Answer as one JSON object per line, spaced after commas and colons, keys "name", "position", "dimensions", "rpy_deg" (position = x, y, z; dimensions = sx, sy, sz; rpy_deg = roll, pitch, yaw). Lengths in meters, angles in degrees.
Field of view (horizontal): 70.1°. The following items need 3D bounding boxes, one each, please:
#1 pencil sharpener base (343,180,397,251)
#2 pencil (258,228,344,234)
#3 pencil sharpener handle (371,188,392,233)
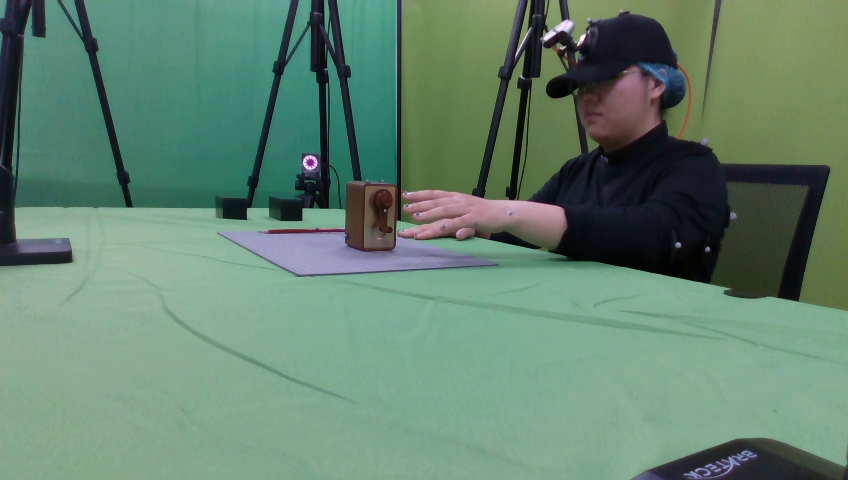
{"name": "pencil sharpener base", "position": [-0.085, -0.039, 0.958], "dimensions": [0.062, 0.107, 0.076], "rpy_deg": [-1, 9, -31]}
{"name": "pencil", "position": [-0.213, -0.017, 1.131], "dimensions": [0.195, 0.012, 0.012], "rpy_deg": [-2, 8, -26]}
{"name": "pencil sharpener handle", "position": [-0.059, -0.044, 0.913], "dimensions": [0.036, 0.067, 0.030], "rpy_deg": [2, 7, -31]}
